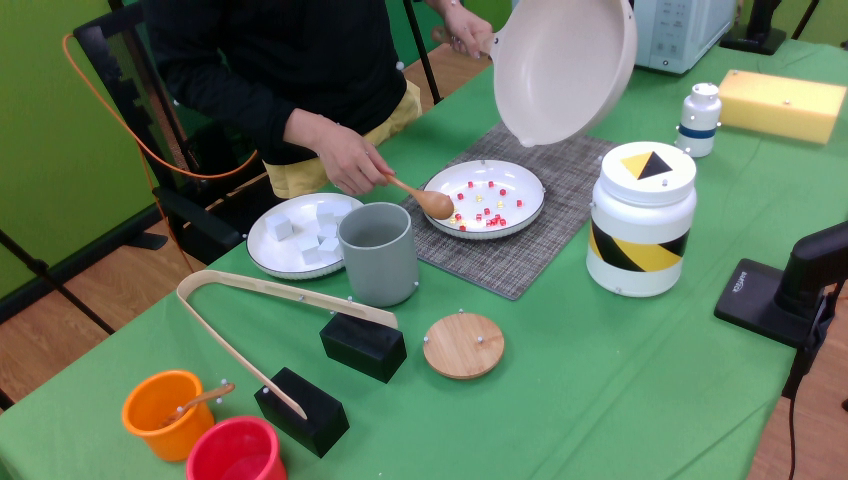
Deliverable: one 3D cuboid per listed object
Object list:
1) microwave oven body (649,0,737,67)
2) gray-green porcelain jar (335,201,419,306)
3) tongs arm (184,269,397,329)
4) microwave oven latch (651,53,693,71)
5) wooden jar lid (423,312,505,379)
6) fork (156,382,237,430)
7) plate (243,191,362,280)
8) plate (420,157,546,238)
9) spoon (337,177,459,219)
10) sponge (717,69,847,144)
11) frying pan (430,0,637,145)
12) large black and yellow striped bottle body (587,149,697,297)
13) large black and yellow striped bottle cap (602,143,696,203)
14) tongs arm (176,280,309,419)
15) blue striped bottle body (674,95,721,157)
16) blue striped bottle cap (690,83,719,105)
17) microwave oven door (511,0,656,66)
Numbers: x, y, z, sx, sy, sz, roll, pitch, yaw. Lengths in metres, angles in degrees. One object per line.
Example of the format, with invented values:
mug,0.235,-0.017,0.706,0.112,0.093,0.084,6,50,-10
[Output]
microwave oven body,0.475,-0.602,1.411,0.438,0.261,0.327,23,50,32
gray-green porcelain jar,-0.064,0.024,0.872,0.106,0.127,0.105,-4,41,4
tongs arm,-0.202,0.085,0.847,0.382,0.027,0.051,11,45,35
microwave oven latch,0.533,-0.387,1.301,0.078,0.029,0.030,29,53,35
wooden jar lid,0.053,0.142,0.800,0.108,0.021,0.108,-5,39,4
fork,-0.262,0.189,0.690,0.018,0.206,0.028,49,43,-7
plate,-0.188,-0.005,0.992,0.207,0.039,0.206,-4,40,4
plate,0.099,-0.067,1.017,0.209,0.038,0.208,-4,40,4
spoon,-0.040,-0.070,0.929,0.194,0.021,0.041,18,51,2
sponge,0.663,-0.256,1.142,0.205,0.061,0.118,19,47,28
frying pan,0.170,-0.345,1.085,0.103,0.307,0.483,0,23,-44
large black and yellow striped bottle body,0.298,-0.026,0.835,0.131,0.185,0.130,-4,41,4
large black and yellow striped bottle cap,0.289,-0.088,0.778,0.115,0.019,0.114,-5,39,4
tongs arm,-0.254,0.133,0.801,0.028,0.028,0.384,-41,40,-23
blue striped bottle body,0.486,-0.213,1.071,0.063,0.121,0.063,-4,41,4
blue striped bottle cap,0.481,-0.251,1.038,0.044,0.021,0.044,-5,39,5
microwave oven door,0.351,-0.539,1.349,0.353,0.245,0.039,24,50,31
